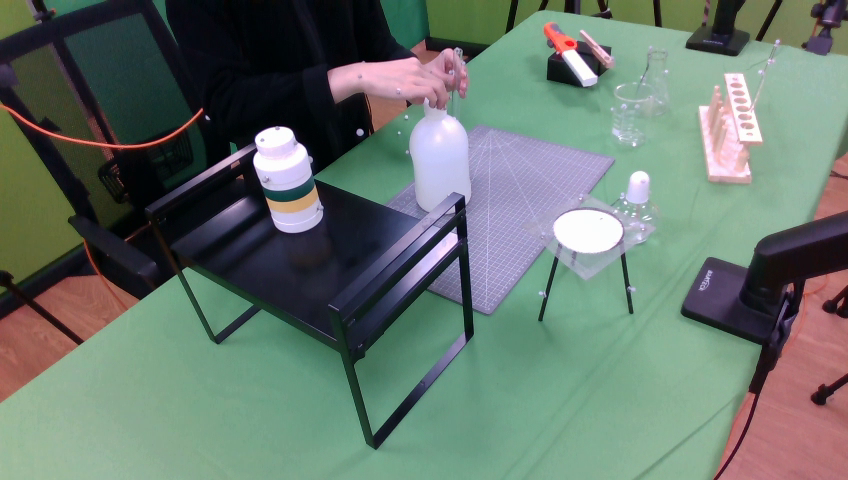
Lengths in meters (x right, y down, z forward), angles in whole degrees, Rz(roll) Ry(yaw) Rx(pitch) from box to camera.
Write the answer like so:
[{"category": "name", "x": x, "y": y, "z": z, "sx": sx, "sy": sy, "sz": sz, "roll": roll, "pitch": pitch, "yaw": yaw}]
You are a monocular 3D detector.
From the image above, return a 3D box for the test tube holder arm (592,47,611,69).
[{"category": "test tube holder arm", "x": 0.385, "y": -0.398, "z": 1.317, "sx": 0.010, "sy": 0.015, "sz": 0.087, "roll": -11, "pitch": 41, "yaw": -2}]

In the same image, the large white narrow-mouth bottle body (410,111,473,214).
[{"category": "large white narrow-mouth bottle body", "x": 0.027, "y": -0.145, "z": 1.006, "sx": 0.102, "sy": 0.195, "sz": 0.101, "roll": -5, "pitch": 40, "yaw": 4}]

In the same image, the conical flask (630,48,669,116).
[{"category": "conical flask", "x": 0.457, "y": -0.317, "z": 1.205, "sx": 0.075, "sy": 0.122, "sz": 0.075, "roll": -4, "pitch": 41, "yaw": 4}]

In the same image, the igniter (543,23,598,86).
[{"category": "igniter", "x": 0.320, "y": -0.419, "z": 1.345, "sx": 0.057, "sy": 0.025, "sz": 0.274, "roll": -12, "pitch": 44, "yaw": -3}]

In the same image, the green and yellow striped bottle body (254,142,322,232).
[{"category": "green and yellow striped bottle body", "x": -0.165, "y": -0.073, "z": 0.732, "sx": 0.063, "sy": 0.120, "sz": 0.063, "roll": -4, "pitch": 41, "yaw": 4}]

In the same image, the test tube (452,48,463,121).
[{"category": "test tube", "x": 0.057, "y": -0.262, "z": 1.057, "sx": 0.017, "sy": 0.151, "sz": 0.017, "roll": 0, "pitch": 44, "yaw": 1}]

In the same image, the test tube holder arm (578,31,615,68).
[{"category": "test tube holder arm", "x": 0.383, "y": -0.428, "z": 1.351, "sx": 0.013, "sy": 0.015, "sz": 0.177, "roll": -12, "pitch": 42, "yaw": -3}]

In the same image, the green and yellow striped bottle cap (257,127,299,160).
[{"category": "green and yellow striped bottle cap", "x": -0.169, "y": -0.112, "z": 0.698, "sx": 0.045, "sy": 0.020, "sz": 0.045, "roll": -5, "pitch": 40, "yaw": 5}]

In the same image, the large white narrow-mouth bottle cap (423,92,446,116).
[{"category": "large white narrow-mouth bottle cap", "x": 0.016, "y": -0.214, "z": 0.951, "sx": 0.038, "sy": 0.024, "sz": 0.037, "roll": -5, "pitch": 39, "yaw": 4}]

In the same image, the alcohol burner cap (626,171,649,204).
[{"category": "alcohol burner cap", "x": 0.320, "y": -0.081, "z": 0.900, "sx": 0.034, "sy": 0.048, "sz": 0.033, "roll": -4, "pitch": 42, "yaw": 4}]

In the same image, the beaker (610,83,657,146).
[{"category": "beaker", "x": 0.388, "y": -0.235, "z": 1.138, "sx": 0.074, "sy": 0.101, "sz": 0.083, "roll": -31, "pitch": 45, "yaw": -25}]

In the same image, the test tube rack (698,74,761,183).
[{"category": "test tube rack", "x": 0.547, "y": -0.208, "z": 1.095, "sx": 0.066, "sy": 0.085, "sz": 0.242, "roll": 5, "pitch": 42, "yaw": 15}]

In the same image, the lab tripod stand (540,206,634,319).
[{"category": "lab tripod stand", "x": 0.217, "y": 0.034, "z": 0.821, "sx": 0.148, "sy": 0.132, "sz": 0.147, "roll": -4, "pitch": 42, "yaw": 4}]

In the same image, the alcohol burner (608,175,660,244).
[{"category": "alcohol burner", "x": 0.322, "y": -0.053, "z": 0.924, "sx": 0.078, "sy": 0.119, "sz": 0.077, "roll": -4, "pitch": 43, "yaw": 4}]

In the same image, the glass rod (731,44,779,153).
[{"category": "glass rod", "x": 0.556, "y": -0.234, "z": 1.021, "sx": 0.008, "sy": 0.200, "sz": 0.008, "roll": 2, "pitch": 40, "yaw": -1}]

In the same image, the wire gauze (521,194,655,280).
[{"category": "wire gauze", "x": 0.207, "y": -0.012, "z": 0.772, "sx": 0.122, "sy": 0.011, "sz": 0.124, "roll": -28, "pitch": 44, "yaw": -20}]
